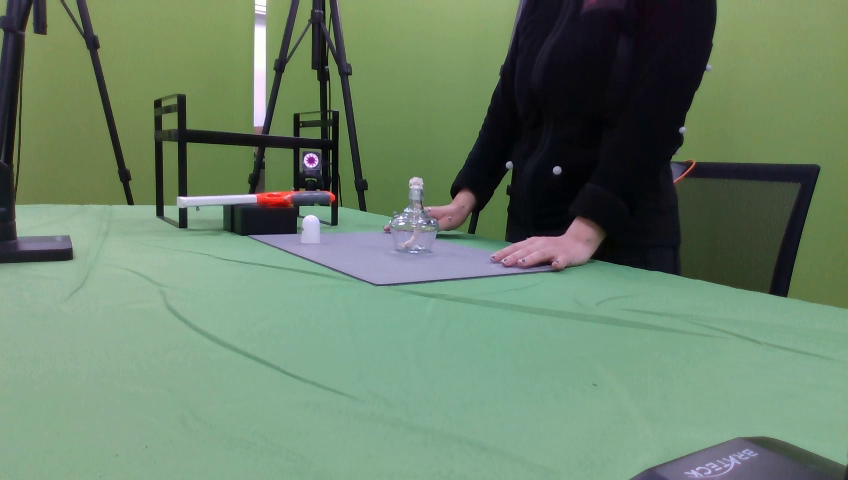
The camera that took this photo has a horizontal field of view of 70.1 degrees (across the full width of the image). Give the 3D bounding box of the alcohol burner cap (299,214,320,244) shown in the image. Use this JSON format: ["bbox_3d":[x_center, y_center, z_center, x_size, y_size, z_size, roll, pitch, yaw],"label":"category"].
[{"bbox_3d":[-0.185,-0.018,0.979,0.034,0.048,0.034,3,8,0],"label":"alcohol burner cap"}]

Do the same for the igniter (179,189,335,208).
[{"bbox_3d":[-0.296,-0.076,1.102,0.278,0.025,0.057,-5,11,-31],"label":"igniter"}]

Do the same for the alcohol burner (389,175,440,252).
[{"bbox_3d":[-0.013,-0.041,0.930,0.078,0.119,0.078,4,8,0],"label":"alcohol burner"}]
